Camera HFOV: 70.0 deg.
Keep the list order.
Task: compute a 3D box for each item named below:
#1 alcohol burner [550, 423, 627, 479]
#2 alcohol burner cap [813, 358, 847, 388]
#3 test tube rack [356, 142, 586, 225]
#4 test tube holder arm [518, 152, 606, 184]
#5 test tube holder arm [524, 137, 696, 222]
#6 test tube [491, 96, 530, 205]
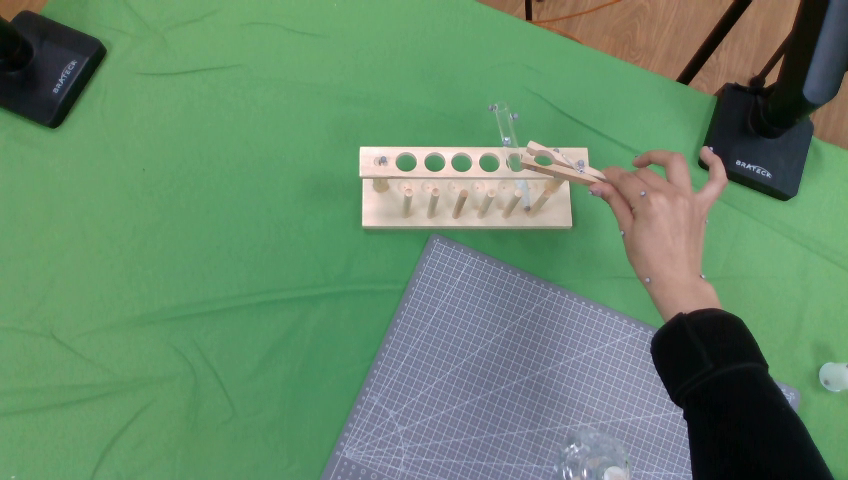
[{"bbox_3d":[0.165,0.220,0.591,0.078,0.119,0.077,1,77,-4],"label":"alcohol burner"},{"bbox_3d":[0.460,0.146,0.668,0.034,0.048,0.033,1,75,-3],"label":"alcohol burner cap"},{"bbox_3d":[0.049,-0.060,0.669,0.242,0.085,0.066,0,75,-4],"label":"test tube rack"},{"bbox_3d":[0.137,-0.072,0.604,0.087,0.015,0.010,15,80,10],"label":"test tube holder arm"},{"bbox_3d":[0.180,-0.060,0.596,0.178,0.015,0.013,25,83,12],"label":"test tube holder arm"},{"bbox_3d":[0.093,-0.088,0.634,0.017,0.152,0.017,-11,50,13],"label":"test tube"}]
